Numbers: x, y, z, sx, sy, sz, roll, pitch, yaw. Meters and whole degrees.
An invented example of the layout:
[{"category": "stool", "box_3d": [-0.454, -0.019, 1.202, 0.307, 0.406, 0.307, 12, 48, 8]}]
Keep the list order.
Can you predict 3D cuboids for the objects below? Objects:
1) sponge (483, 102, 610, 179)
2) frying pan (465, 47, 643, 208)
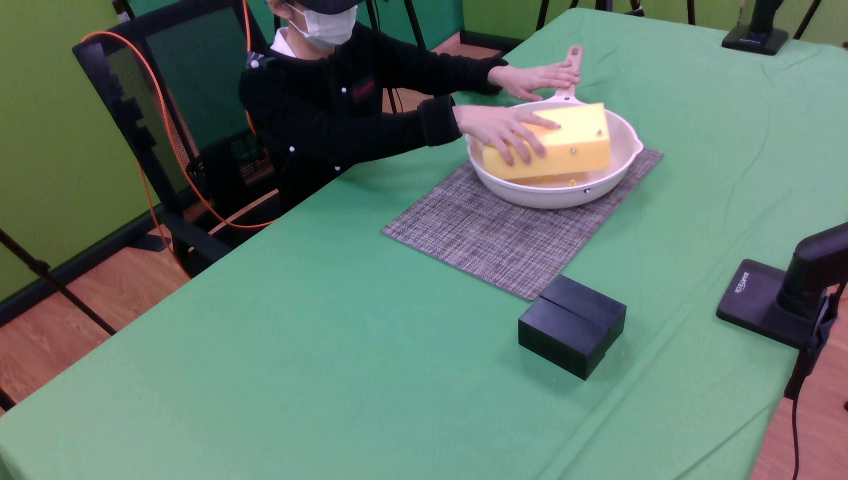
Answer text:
[{"category": "sponge", "box_3d": [0.209, -0.170, 1.041, 0.206, 0.061, 0.118, -5, 41, 11]}, {"category": "frying pan", "box_3d": [0.255, -0.228, 1.136, 0.305, 0.103, 0.487, 9, 51, 17]}]
